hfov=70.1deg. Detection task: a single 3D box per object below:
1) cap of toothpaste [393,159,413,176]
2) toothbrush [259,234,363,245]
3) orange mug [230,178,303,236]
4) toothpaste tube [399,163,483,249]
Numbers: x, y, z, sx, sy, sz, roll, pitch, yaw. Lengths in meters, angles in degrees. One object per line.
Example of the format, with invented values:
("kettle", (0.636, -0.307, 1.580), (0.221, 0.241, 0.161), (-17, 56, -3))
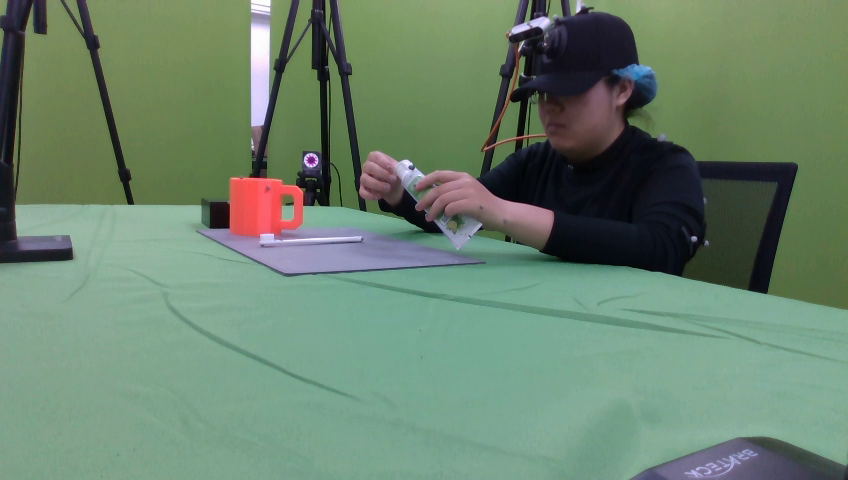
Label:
("cap of toothpaste", (-0.033, -0.112, 0.955), (0.011, 0.037, 0.037), (51, 29, 20))
("toothbrush", (-0.175, -0.002, 0.958), (0.183, 0.016, 0.014), (-1, -3, -39))
("orange mug", (-0.275, -0.060, 1.058), (0.126, 0.101, 0.083), (-2, 8, -5))
("toothpaste tube", (0.019, -0.061, 0.923), (0.164, 0.055, 0.035), (47, 17, 22))
